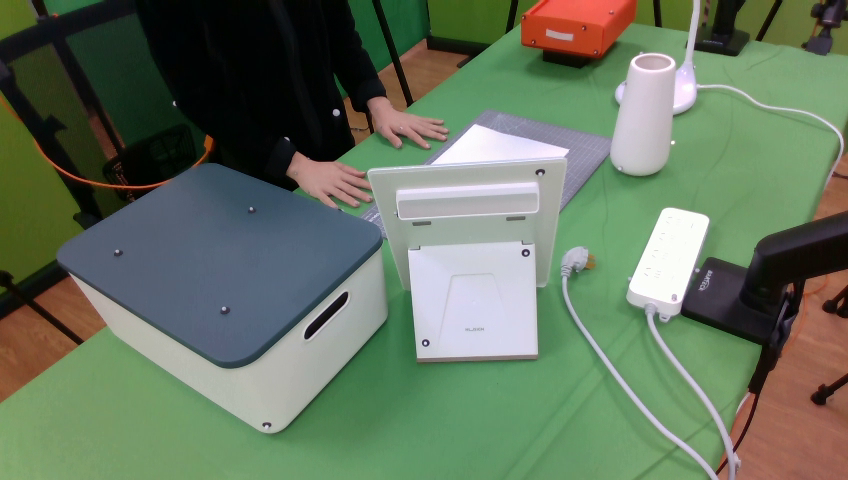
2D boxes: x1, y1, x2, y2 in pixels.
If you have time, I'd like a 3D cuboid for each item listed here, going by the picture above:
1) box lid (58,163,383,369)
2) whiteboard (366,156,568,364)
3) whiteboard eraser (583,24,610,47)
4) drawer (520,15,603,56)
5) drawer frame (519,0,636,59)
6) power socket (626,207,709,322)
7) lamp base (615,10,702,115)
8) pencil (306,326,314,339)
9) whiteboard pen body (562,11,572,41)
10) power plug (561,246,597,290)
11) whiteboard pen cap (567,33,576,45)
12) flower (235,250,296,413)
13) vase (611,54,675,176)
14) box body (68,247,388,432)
[{"bbox_3d":[-0.262,0.010,0.777,0.369,0.015,0.264,21,47,29],"label":"box lid"},{"bbox_3d":[0.059,0.050,0.738,0.217,0.307,0.143,-2,60,6],"label":"whiteboard"},{"bbox_3d":[0.407,-0.479,1.423,0.055,0.042,0.113,-2,9,21],"label":"whiteboard eraser"},{"bbox_3d":[0.359,-0.517,1.416,0.193,0.073,0.212,20,47,29],"label":"drawer"},{"bbox_3d":[0.362,-0.518,1.423,0.200,0.083,0.214,19,48,29],"label":"drawer frame"},{"bbox_3d":[0.360,0.026,0.886,0.072,0.033,0.227,17,46,26],"label":"power socket"},{"bbox_3d":[0.484,-0.364,1.211,0.180,0.181,0.159,-15,41,-14],"label":"lamp base"},{"bbox_3d":[-0.187,0.106,0.880,0.012,0.012,0.192,-27,41,-22],"label":"pencil"},{"bbox_3d":[0.339,-0.505,1.431,0.017,0.017,0.140,-1,44,7],"label":"whiteboard pen body"},{"bbox_3d":[0.228,0.044,0.897,0.053,0.035,0.072,15,82,-9],"label":"power plug"},{"bbox_3d":[0.339,-0.463,1.390,0.018,0.018,0.033,-2,44,5],"label":"whiteboard pen cap"},{"bbox_3d":[-0.244,0.109,0.870,0.044,0.038,0.358,11,26,-32],"label":"flower"},{"bbox_3d":[0.377,-0.209,1.031,0.098,0.201,0.097,-3,40,3],"label":"vase"},{"bbox_3d":[-0.256,0.065,0.826,0.361,0.161,0.255,20,48,29],"label":"box body"}]
